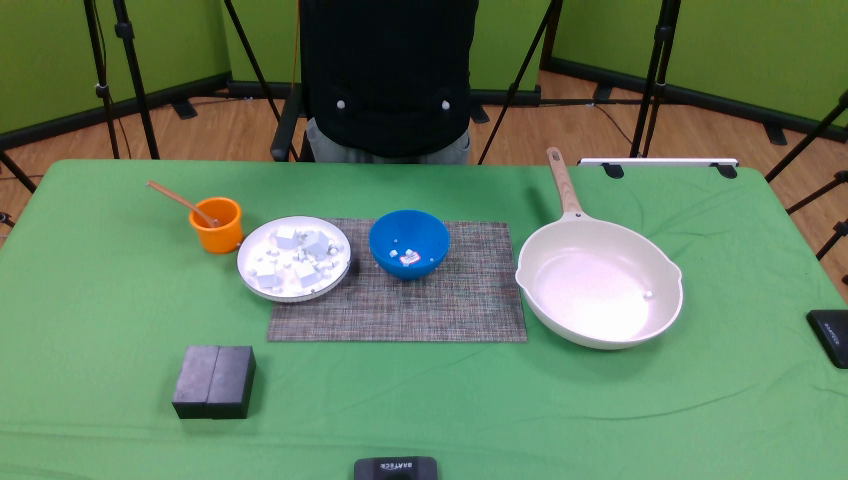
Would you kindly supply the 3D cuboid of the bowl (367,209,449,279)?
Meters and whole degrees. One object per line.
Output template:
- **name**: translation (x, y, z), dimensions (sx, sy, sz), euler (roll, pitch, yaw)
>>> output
- **bowl**: translation (-0.031, 0.020, 1.132), dimensions (0.151, 0.077, 0.150), euler (2, 46, -2)

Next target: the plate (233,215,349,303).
- **plate**: translation (-0.244, 0.039, 1.125), dimensions (0.208, 0.039, 0.206), euler (2, 46, -2)

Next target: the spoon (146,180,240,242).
- **spoon**: translation (-0.428, -0.055, 1.130), dimensions (0.021, 0.195, 0.041), euler (-29, 36, 31)

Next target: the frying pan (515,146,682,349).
- **frying pan**: translation (0.303, -0.004, 1.168), dimensions (0.307, 0.103, 0.484), euler (-2, 55, -7)
